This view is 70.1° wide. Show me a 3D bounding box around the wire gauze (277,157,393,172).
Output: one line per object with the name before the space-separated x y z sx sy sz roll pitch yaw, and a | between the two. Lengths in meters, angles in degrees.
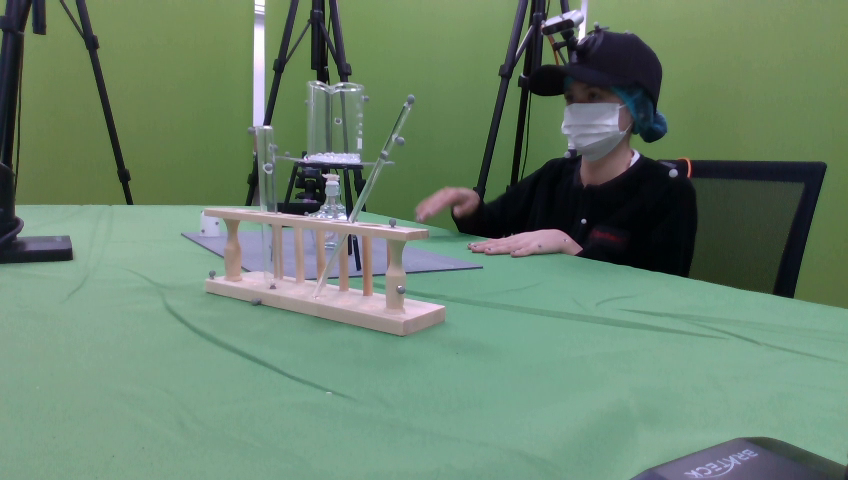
wire gauze | -0.122 -0.100 0.786 0.122 0.011 0.124 -5 14 -38

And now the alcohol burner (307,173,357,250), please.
alcohol burner | -0.144 -0.045 0.940 0.078 0.119 0.078 1 8 0

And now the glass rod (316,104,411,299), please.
glass rod | -0.054 -0.026 0.516 0.008 0.199 0.008 23 24 -11

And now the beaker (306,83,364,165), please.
beaker | -0.115 -0.147 0.775 0.074 0.100 0.084 2 8 -2

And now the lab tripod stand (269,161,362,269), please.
lab tripod stand | -0.125 -0.036 0.794 0.148 0.131 0.148 5 7 0

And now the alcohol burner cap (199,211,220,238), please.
alcohol burner cap | -0.355 -0.027 1.002 0.034 0.048 0.034 2 7 0

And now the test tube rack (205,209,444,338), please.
test tube rack | -0.100 0.021 0.565 0.241 0.085 0.067 7 9 32

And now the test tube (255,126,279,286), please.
test tube | -0.147 -0.031 0.566 0.017 0.150 0.017 -1 8 0
